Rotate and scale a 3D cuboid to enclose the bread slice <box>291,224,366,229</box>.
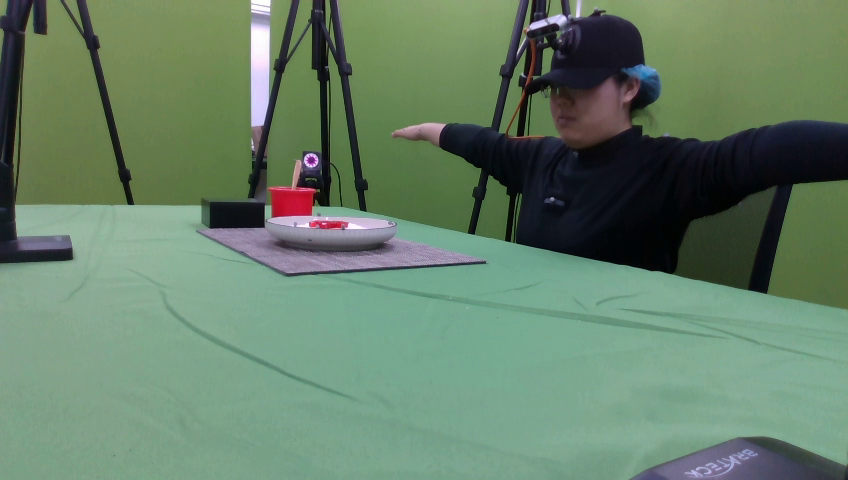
[{"bbox_3d":[-0.154,-0.012,0.973,0.132,0.019,0.104,-1,8,-31],"label":"bread slice"}]

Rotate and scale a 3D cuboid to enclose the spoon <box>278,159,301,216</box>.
[{"bbox_3d":[-0.275,-0.108,1.278,0.042,0.021,0.193,3,51,-3],"label":"spoon"}]

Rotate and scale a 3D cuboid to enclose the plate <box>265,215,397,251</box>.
[{"bbox_3d":[-0.147,-0.012,0.963,0.209,0.038,0.209,3,7,0],"label":"plate"}]
